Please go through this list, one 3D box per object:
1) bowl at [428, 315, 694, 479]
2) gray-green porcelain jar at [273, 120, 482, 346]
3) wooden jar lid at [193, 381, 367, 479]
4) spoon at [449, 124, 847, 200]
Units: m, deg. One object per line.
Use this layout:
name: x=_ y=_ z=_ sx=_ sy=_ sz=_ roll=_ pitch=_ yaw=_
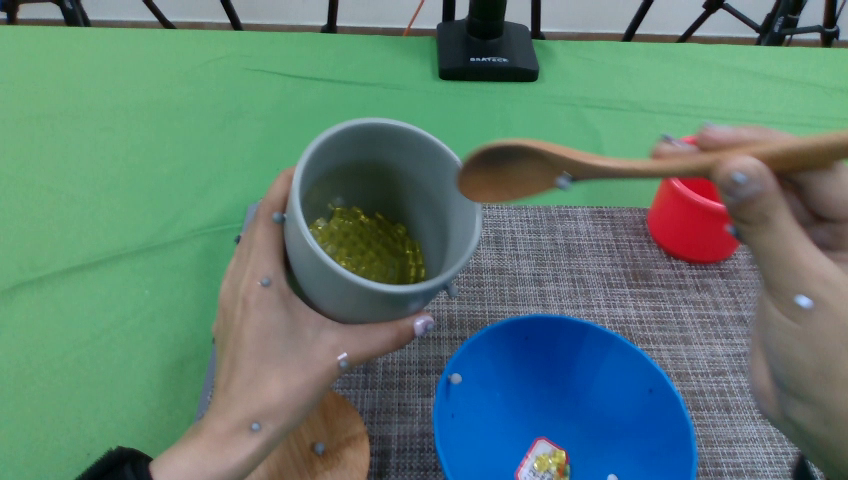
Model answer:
bowl: x=0.076 y=0.129 z=0.373 sx=0.151 sy=0.077 sz=0.150 roll=2 pitch=48 yaw=-2
gray-green porcelain jar: x=-0.037 y=0.005 z=0.376 sx=0.106 sy=0.127 sz=0.105 roll=8 pitch=65 yaw=-17
wooden jar lid: x=-0.091 y=0.143 z=0.389 sx=0.108 sy=0.021 sz=0.107 roll=1 pitch=47 yaw=-1
spoon: x=0.094 y=-0.033 z=0.255 sx=0.192 sy=0.042 sz=0.021 roll=2 pitch=54 yaw=38
